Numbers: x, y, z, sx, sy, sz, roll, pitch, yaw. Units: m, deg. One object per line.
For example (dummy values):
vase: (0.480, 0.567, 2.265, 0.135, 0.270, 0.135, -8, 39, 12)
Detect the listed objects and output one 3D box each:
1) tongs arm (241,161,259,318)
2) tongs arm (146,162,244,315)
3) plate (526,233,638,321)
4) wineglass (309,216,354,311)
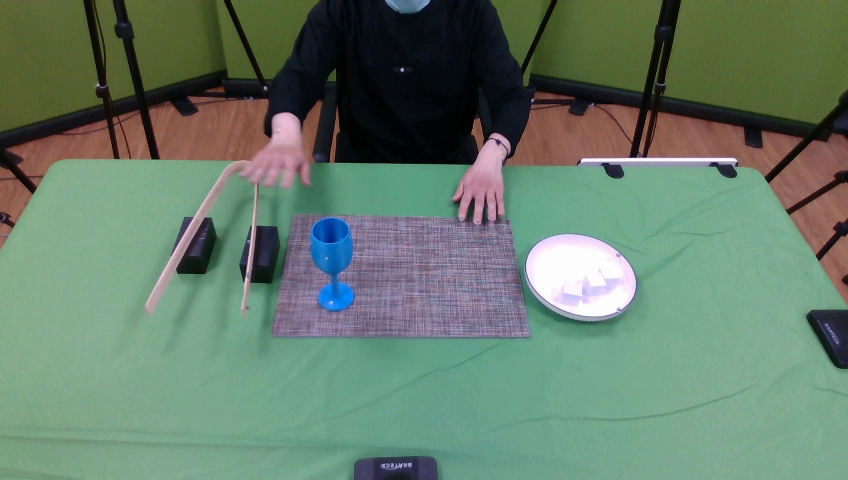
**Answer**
tongs arm: (-0.333, -0.016, 1.118, 0.051, 0.026, 0.382, -2, 46, -4)
tongs arm: (-0.414, -0.019, 1.115, 0.028, 0.028, 0.385, 5, 45, 8)
plate: (0.292, 0.071, 1.135, 0.209, 0.038, 0.208, 2, 46, -2)
wineglass: (-0.155, 0.043, 1.032, 0.074, 0.173, 0.073, 2, 46, -2)
